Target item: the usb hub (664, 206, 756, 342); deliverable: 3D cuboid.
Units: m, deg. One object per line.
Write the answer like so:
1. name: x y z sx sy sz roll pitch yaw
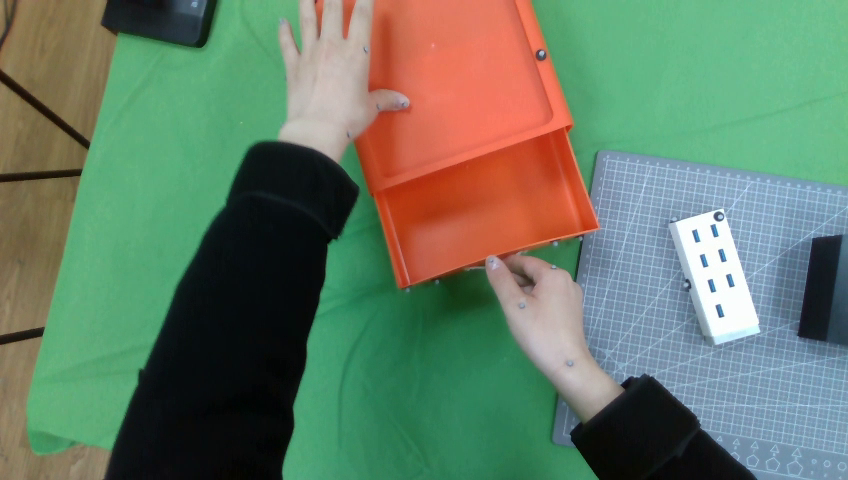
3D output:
1. usb hub: 0.281 0.033 0.596 0.049 0.025 0.125 -16 87 1

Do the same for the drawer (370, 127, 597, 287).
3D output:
1. drawer: 0.039 -0.078 0.592 0.194 0.073 0.211 -17 85 3

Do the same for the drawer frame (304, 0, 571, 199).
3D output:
1. drawer frame: 0.010 -0.169 0.594 0.201 0.083 0.213 -19 86 3
